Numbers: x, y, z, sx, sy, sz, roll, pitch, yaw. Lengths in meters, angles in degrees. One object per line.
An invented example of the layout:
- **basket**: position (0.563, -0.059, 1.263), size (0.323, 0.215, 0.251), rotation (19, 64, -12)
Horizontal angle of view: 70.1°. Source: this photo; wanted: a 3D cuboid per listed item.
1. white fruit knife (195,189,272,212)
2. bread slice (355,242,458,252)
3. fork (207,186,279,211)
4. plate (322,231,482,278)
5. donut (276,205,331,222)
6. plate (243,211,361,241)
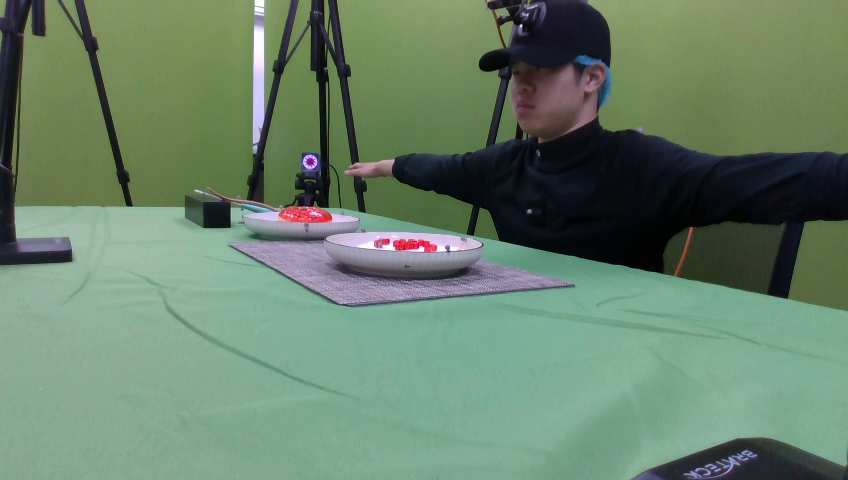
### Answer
- **white fruit knife**: position (-0.378, -0.073, 1.270), size (0.208, 0.016, 0.027), rotation (18, -3, -32)
- **bread slice**: position (-0.027, 0.019, 0.793), size (0.131, 0.019, 0.105), rotation (6, 7, 18)
- **fork**: position (-0.342, -0.070, 1.244), size (0.208, 0.018, 0.028), rotation (18, -5, -24)
- **plate**: position (-0.028, 0.018, 0.789), size (0.209, 0.038, 0.209), rotation (3, 7, 0)
- **donut**: position (-0.218, -0.037, 1.091), size (0.099, 0.048, 0.099), rotation (5, 9, 0)
- **plate**: position (-0.219, -0.025, 1.092), size (0.208, 0.039, 0.207), rotation (2, 7, 0)
